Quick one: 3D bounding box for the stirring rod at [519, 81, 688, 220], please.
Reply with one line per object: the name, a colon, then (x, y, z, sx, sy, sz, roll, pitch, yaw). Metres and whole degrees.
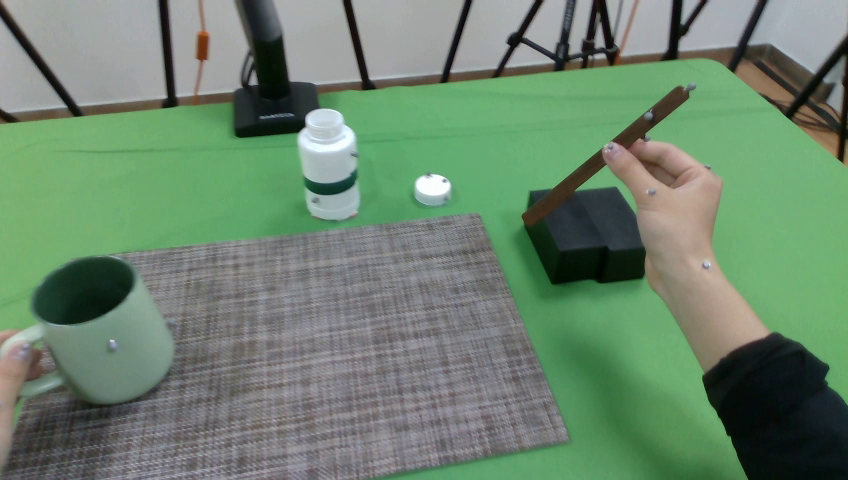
stirring rod: (0.146, -0.071, 0.514, 0.014, 0.176, 0.006, 48, 34, -1)

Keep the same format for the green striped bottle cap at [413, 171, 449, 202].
green striped bottle cap: (0.008, -0.065, 0.740, 0.044, 0.020, 0.044, 0, 39, 0)

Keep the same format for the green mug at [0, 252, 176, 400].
green mug: (-0.280, 0.081, 0.502, 0.125, 0.106, 0.091, -31, 52, -30)

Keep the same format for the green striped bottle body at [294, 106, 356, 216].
green striped bottle body: (-0.111, -0.090, 0.686, 0.063, 0.120, 0.062, 1, 43, -1)
